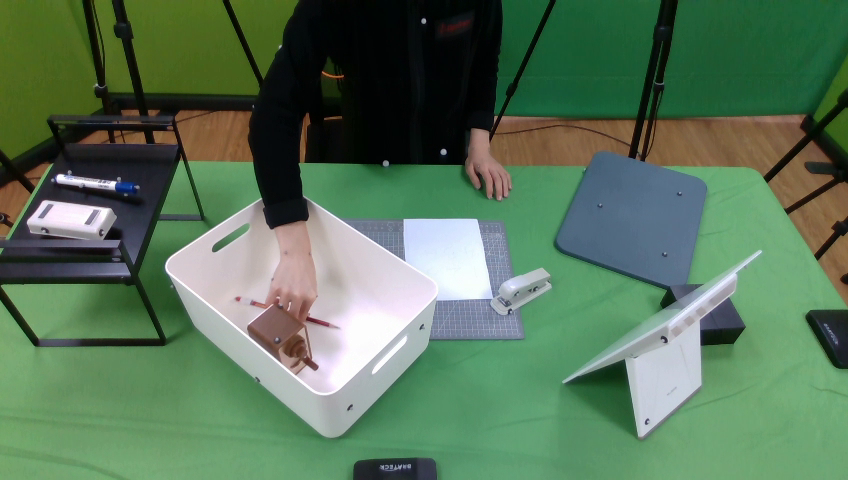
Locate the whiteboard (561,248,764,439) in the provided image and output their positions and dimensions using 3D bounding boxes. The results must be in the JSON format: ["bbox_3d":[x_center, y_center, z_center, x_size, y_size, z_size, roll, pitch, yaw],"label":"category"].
[{"bbox_3d":[0.386,0.176,0.905,0.217,0.306,0.143,-26,72,-27],"label":"whiteboard"}]

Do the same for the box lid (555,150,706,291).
[{"bbox_3d":[0.451,-0.059,1.297,0.263,0.015,0.370,20,49,14],"label":"box lid"}]

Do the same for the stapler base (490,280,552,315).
[{"bbox_3d":[0.181,0.094,1.118,0.130,0.024,0.041,-24,56,-29],"label":"stapler base"}]

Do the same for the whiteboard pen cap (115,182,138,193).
[{"bbox_3d":[-0.483,-0.086,0.984,0.033,0.018,0.018,7,46,10],"label":"whiteboard pen cap"}]

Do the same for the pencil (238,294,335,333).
[{"bbox_3d":[-0.239,0.128,1.051,0.193,0.012,0.012,18,48,14],"label":"pencil"}]

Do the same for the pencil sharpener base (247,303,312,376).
[{"bbox_3d":[-0.225,0.165,0.955,0.076,0.107,0.061,32,54,23],"label":"pencil sharpener base"}]

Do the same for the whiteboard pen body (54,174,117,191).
[{"bbox_3d":[-0.541,-0.093,0.993,0.140,0.017,0.017,7,46,9],"label":"whiteboard pen body"}]

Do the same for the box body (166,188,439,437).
[{"bbox_3d":[-0.190,0.108,0.980,0.362,0.161,0.254,32,52,24],"label":"box body"}]

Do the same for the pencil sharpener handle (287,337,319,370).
[{"bbox_3d":[-0.182,0.178,0.928,0.030,0.068,0.036,32,69,23],"label":"pencil sharpener handle"}]

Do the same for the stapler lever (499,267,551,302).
[{"bbox_3d":[0.185,0.076,1.101,0.118,0.040,0.026,-25,57,-29],"label":"stapler lever"}]

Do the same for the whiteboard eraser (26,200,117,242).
[{"bbox_3d":[-0.532,-0.026,0.919,0.113,0.042,0.055,7,45,3],"label":"whiteboard eraser"}]
